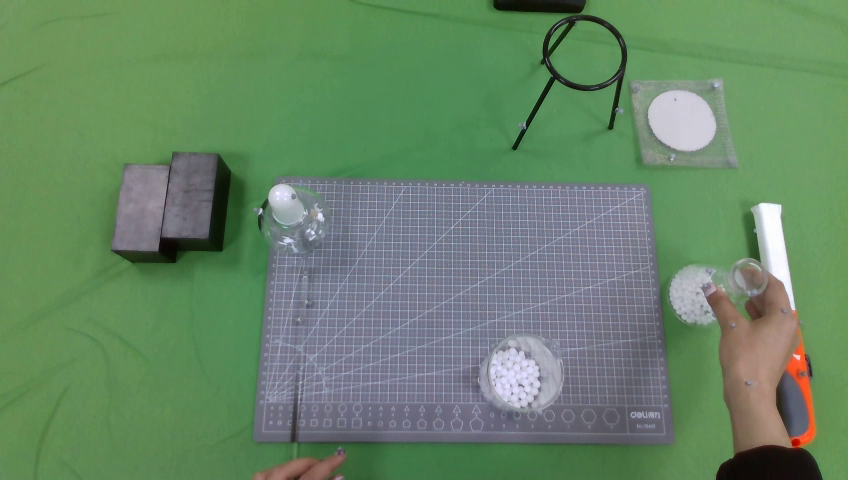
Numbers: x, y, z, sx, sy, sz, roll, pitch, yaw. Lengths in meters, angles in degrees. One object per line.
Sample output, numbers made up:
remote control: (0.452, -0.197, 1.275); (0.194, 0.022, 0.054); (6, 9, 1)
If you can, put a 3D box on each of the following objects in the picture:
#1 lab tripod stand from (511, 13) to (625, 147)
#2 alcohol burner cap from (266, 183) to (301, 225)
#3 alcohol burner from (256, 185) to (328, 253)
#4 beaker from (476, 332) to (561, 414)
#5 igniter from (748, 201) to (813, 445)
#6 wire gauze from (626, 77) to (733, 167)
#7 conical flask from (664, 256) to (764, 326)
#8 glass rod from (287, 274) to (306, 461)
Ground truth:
lab tripod stand: (0.163, -0.179, 0.697); (0.148, 0.132, 0.147); (1, 76, -2)
alcohol burner cap: (-0.144, -0.040, 0.614); (0.034, 0.048, 0.033); (2, 66, -3)
alcohol burner: (-0.145, -0.028, 0.648); (0.078, 0.119, 0.077); (0, 74, 0)
beaker: (0.095, 0.136, 0.621); (0.084, 0.101, 0.073); (-41, 79, -13)
igniter: (0.402, 0.088, 0.687); (0.057, 0.025, 0.275); (4, 74, -13)
wire gauze: (0.321, -0.150, 0.761); (0.125, 0.011, 0.121); (0, 75, -4)
conical flask: (0.312, 0.048, 0.643); (0.075, 0.122, 0.075); (0, 75, 0)
glass rod: (-0.138, 0.135, 0.658); (0.008, 0.008, 0.198); (2, 77, -2)
